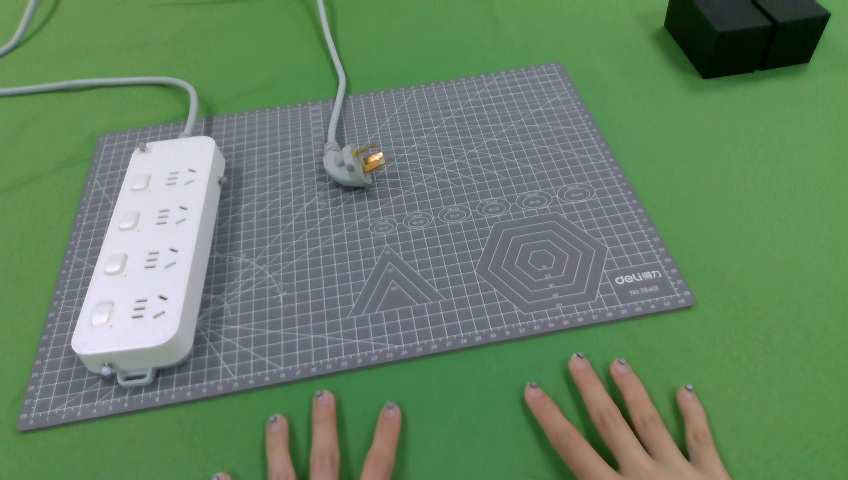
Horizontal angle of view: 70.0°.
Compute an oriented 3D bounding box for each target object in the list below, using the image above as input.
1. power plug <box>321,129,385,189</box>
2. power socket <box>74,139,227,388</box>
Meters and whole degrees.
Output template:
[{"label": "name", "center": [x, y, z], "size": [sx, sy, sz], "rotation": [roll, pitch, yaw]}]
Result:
[{"label": "power plug", "center": [-0.061, -0.076, 0.503], "size": [0.052, 0.035, 0.072], "rotation": [-18, 69, 10]}, {"label": "power socket", "center": [-0.198, 0.002, 0.457], "size": [0.072, 0.033, 0.224], "rotation": [-6, 49, -1]}]
